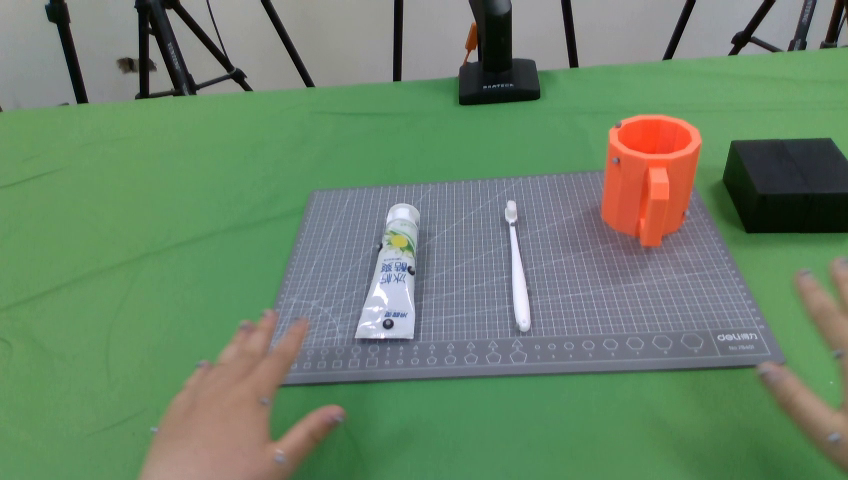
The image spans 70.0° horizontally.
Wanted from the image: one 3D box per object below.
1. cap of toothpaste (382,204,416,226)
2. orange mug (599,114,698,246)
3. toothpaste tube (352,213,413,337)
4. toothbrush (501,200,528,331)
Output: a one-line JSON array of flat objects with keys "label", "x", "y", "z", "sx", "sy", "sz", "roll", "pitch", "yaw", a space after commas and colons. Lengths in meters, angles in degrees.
[{"label": "cap of toothpaste", "x": -0.027, "y": -0.023, "z": 0.658, "sx": 0.037, "sy": 0.038, "sz": 0.011, "roll": -1, "pitch": 43, "yaw": 7}, {"label": "orange mug", "x": 0.224, "y": -0.057, "z": 0.610, "sx": 0.083, "sy": 0.102, "sz": 0.125, "roll": 2, "pitch": 36, "yaw": 12}, {"label": "toothpaste tube", "x": -0.034, "y": 0.030, "z": 0.602, "sx": 0.055, "sy": 0.035, "sz": 0.163, "roll": -5, "pitch": 42, "yaw": 9}, {"label": "toothbrush", "x": 0.090, "y": 0.019, "z": 0.604, "sx": 0.014, "sy": 0.017, "sz": 0.180, "roll": 7, "pitch": 41, "yaw": -4}]
